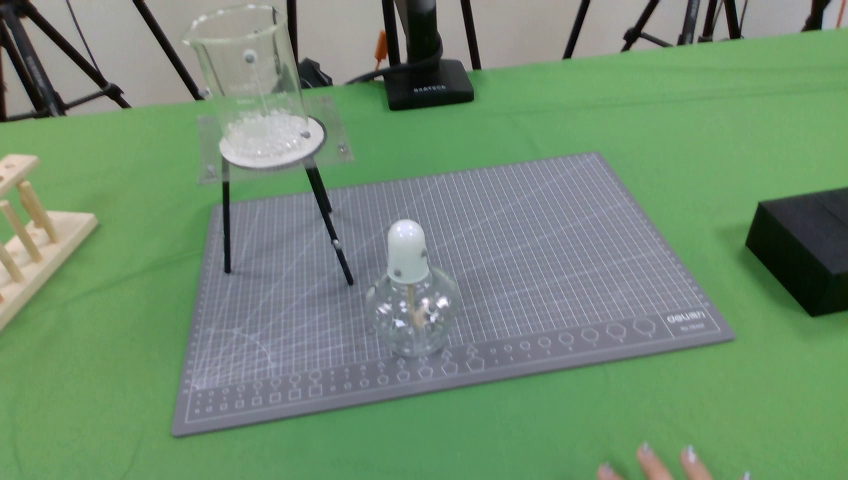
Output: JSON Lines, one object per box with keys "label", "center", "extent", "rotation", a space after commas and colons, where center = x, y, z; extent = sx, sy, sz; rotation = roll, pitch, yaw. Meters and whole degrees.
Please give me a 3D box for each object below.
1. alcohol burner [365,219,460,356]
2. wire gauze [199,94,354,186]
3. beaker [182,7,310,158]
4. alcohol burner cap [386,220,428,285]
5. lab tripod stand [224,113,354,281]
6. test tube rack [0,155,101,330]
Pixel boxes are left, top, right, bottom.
{"label": "alcohol burner", "center": [-0.010, 0.034, 0.480], "extent": [0.078, 0.120, 0.077], "rotation": [-3, 38, 3]}
{"label": "wire gauze", "center": [-0.130, -0.087, 0.518], "extent": [0.125, 0.011, 0.120], "rotation": [-14, 39, -7]}
{"label": "beaker", "center": [-0.137, -0.124, 0.486], "extent": [0.084, 0.101, 0.073], "rotation": [-13, 40, -8]}
{"label": "alcohol burner cap", "center": [-0.013, 0.007, 0.456], "extent": [0.034, 0.048, 0.033], "rotation": [0, 36, 1]}
{"label": "lab tripod stand", "center": [-0.126, -0.037, 0.560], "extent": [0.148, 0.133, 0.147], "rotation": [-3, 42, 3]}
{"label": "test tube rack", "center": [-0.411, 0.023, 0.555], "extent": [0.066, 0.086, 0.240], "rotation": [4, 40, 10]}
